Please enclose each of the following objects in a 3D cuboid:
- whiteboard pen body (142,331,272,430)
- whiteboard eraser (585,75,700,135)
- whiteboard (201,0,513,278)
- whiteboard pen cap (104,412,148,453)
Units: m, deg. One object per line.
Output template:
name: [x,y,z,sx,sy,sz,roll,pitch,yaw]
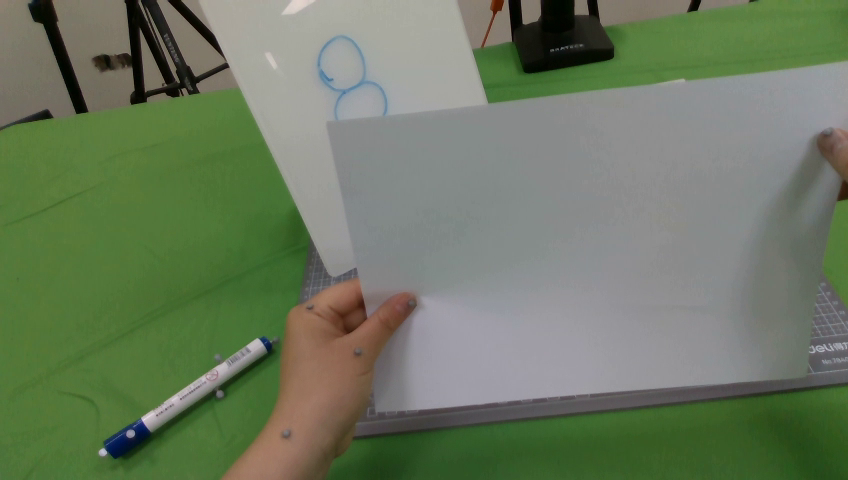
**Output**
whiteboard pen body: [-0.188,0.120,0.500,0.141,0.017,0.017,-35,47,-25]
whiteboard eraser: [0.240,-0.147,0.670,0.113,0.042,0.055,-10,45,2]
whiteboard: [-0.073,-0.159,0.608,0.217,0.308,0.142,-27,24,-15]
whiteboard pen cap: [-0.232,0.150,0.476,0.033,0.018,0.018,-36,47,-25]
